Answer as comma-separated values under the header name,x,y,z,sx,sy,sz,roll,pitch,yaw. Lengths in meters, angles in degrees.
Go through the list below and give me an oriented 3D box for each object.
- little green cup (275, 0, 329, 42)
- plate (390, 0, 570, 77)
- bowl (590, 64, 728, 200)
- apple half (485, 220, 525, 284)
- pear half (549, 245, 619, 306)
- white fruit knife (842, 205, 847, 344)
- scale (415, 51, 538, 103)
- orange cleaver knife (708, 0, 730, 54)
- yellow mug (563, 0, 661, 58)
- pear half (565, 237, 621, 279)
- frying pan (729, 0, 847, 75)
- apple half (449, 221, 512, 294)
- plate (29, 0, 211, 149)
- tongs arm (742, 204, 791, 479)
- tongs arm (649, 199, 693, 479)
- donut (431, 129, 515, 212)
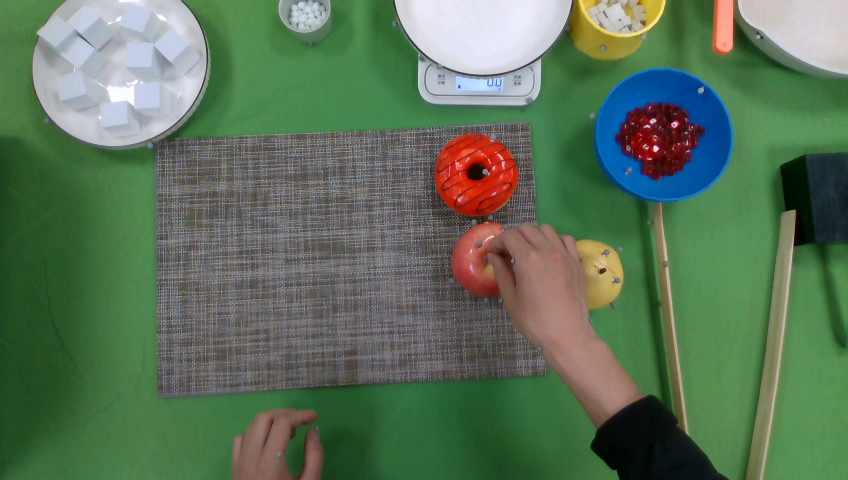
name,x,y,z,sx,sy,sz,roll,pitch,yaw
little green cup,-0.144,-0.272,0.731,0.061,0.039,0.061,0,83,0
plate,0.064,-0.286,0.704,0.209,0.038,0.208,0,84,-1
bowl,0.257,-0.115,0.697,0.151,0.077,0.151,0,84,0
apple half,0.090,0.009,0.674,0.033,0.081,0.081,-28,84,-10
pear half,0.174,0.044,0.663,0.076,0.110,0.056,28,84,7
white fruit knife,0.484,0.021,0.682,0.016,0.027,0.208,-5,98,-1
scale,0.064,-0.267,0.735,0.149,0.031,0.200,1,84,0
orange cleaver knife,0.352,-0.314,0.688,0.077,0.012,0.211,2,84,2
yellow mug,0.212,-0.290,0.721,0.100,0.064,0.130,-36,84,-3
pear half,0.193,0.015,0.676,0.070,0.088,0.031,27,85,6
frying pan,0.539,-0.243,0.699,0.307,0.103,0.485,-30,77,-2
apple half,0.055,0.025,0.668,0.053,0.074,0.081,-24,90,-10
plate,-0.355,-0.207,0.723,0.208,0.039,0.207,0,84,0
tongs arm,0.386,0.147,0.696,0.028,0.028,0.386,12,84,-7
tongs arm,0.300,0.143,0.691,0.051,0.026,0.383,-3,85,-6
donut,0.056,-0.081,0.704,0.099,0.048,0.099,0,84,2
